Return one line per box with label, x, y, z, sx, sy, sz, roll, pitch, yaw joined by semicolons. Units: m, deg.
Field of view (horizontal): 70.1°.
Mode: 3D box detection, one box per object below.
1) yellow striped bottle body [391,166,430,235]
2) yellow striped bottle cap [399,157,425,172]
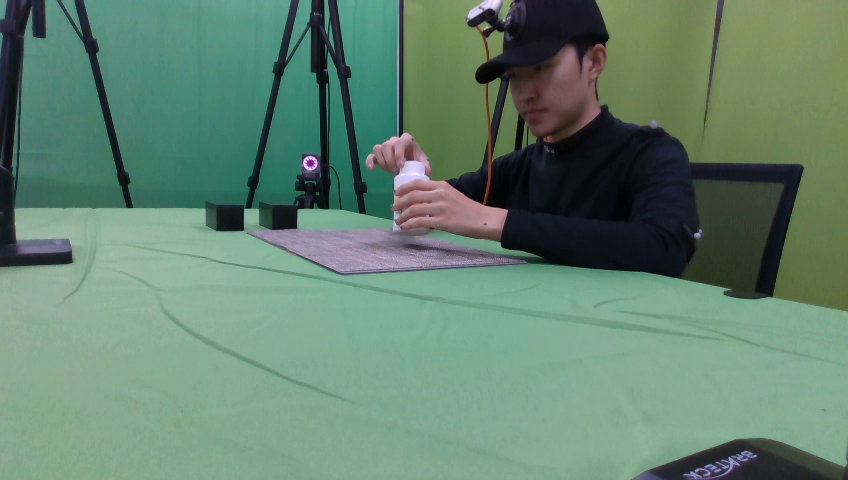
yellow striped bottle body;-0.021;-0.072;1.026;0.063;0.120;0.063;3;-10;1
yellow striped bottle cap;-0.020;-0.124;1.029;0.044;0.018;0.044;-3;-20;-1
